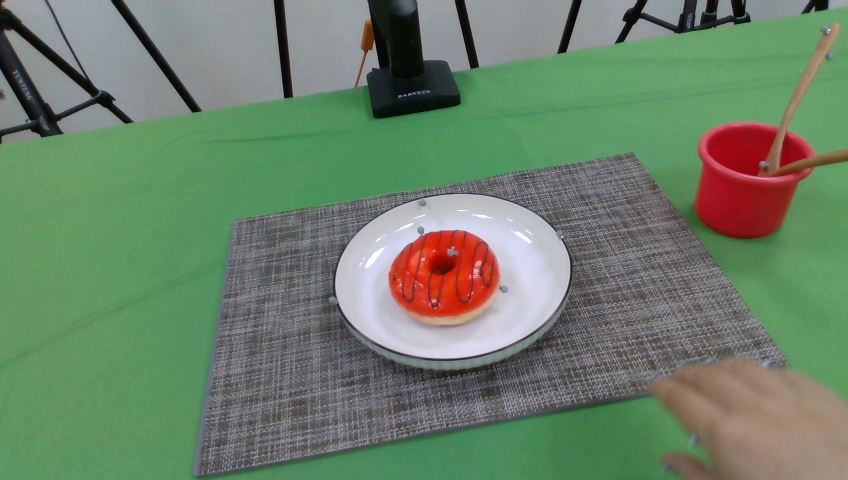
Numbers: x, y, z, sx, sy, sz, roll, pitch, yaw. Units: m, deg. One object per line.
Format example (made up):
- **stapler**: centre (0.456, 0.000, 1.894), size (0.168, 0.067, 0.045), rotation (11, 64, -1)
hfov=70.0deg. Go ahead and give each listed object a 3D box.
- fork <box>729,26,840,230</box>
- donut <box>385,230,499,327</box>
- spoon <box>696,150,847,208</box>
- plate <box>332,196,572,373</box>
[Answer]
- **fork**: centre (0.338, -0.103, 0.564), size (0.019, 0.207, 0.028), rotation (20, 4, -23)
- **donut**: centre (0.016, 0.034, 0.526), size (0.099, 0.049, 0.098), rotation (-5, 44, 5)
- **spoon**: centre (0.318, -0.057, 0.524), size (0.041, 0.193, 0.022), rotation (-40, 95, -23)
- **plate**: centre (0.025, 0.037, 0.537), size (0.209, 0.038, 0.207), rotation (-4, 41, 4)
